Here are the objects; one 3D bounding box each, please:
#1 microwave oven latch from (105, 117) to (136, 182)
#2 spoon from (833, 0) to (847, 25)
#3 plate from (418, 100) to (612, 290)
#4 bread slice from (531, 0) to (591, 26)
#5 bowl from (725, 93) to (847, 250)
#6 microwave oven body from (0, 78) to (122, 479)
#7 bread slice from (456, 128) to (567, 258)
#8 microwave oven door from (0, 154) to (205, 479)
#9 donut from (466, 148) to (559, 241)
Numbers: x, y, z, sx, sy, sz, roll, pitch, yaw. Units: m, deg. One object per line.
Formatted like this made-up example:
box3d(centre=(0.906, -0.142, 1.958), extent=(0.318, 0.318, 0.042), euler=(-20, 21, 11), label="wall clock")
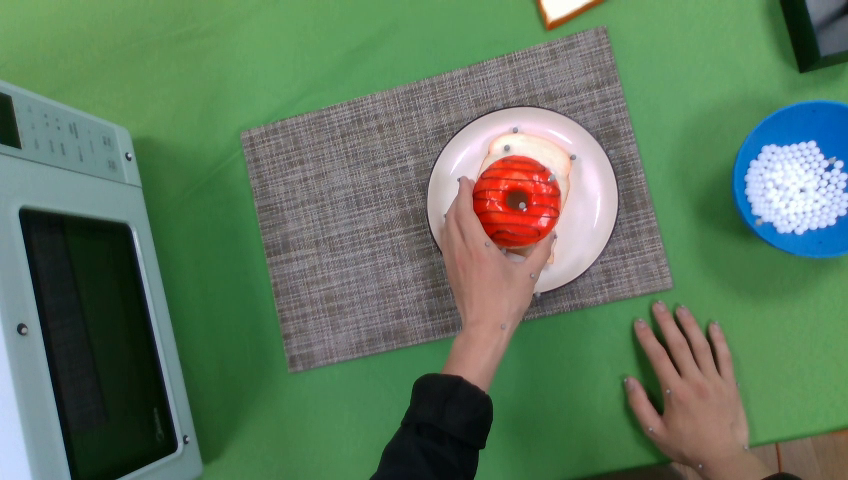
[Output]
box3d(centre=(-0.378, -0.107, 0.739), extent=(0.030, 0.029, 0.079), euler=(-15, 86, 8), label="microwave oven latch")
box3d(centre=(0.405, -0.246, 0.552), extent=(0.021, 0.195, 0.041), euler=(-13, 83, 23), label="spoon")
box3d(centre=(0.099, -0.048, 0.671), extent=(0.207, 0.039, 0.207), euler=(0, 88, 9), label="plate")
box3d(centre=(0.151, -0.324, 0.688), extent=(0.105, 0.019, 0.131), euler=(-28, 85, 6), label="bread slice")
box3d(centre=(0.373, -0.063, 0.608), extent=(0.151, 0.077, 0.151), euler=(-1, 87, 10), label="bowl")
box3d(centre=(-0.491, 0.098, 0.651), extent=(0.326, 0.261, 0.440), euler=(-16, 85, 8), label="microwave oven body")
box3d(centre=(0.100, -0.056, 0.670), extent=(0.107, 0.018, 0.134), euler=(11, 89, 9), label="bread slice")
box3d(centre=(-0.341, 0.098, 0.621), extent=(0.039, 0.244, 0.355), euler=(-16, 85, 9), label="microwave oven door")
box3d(centre=(0.093, -0.047, 0.637), extent=(0.099, 0.048, 0.099), euler=(-1, 86, 11), label="donut")
